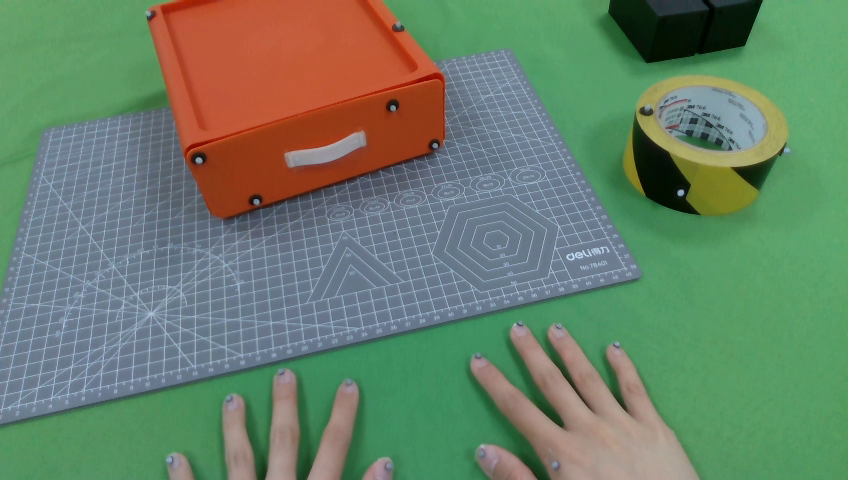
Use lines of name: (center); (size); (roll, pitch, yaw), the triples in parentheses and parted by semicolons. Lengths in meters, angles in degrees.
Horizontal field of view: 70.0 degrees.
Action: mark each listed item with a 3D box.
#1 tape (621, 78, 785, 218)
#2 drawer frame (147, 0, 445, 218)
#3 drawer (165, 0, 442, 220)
tape: (0.218, -0.076, 0.482); (0.117, 0.053, 0.115); (-1, 50, 1)
drawer frame: (-0.116, -0.139, 0.528); (0.202, 0.083, 0.211); (-21, 51, -14)
drawer: (-0.113, -0.134, 0.525); (0.195, 0.074, 0.209); (-20, 51, -13)
